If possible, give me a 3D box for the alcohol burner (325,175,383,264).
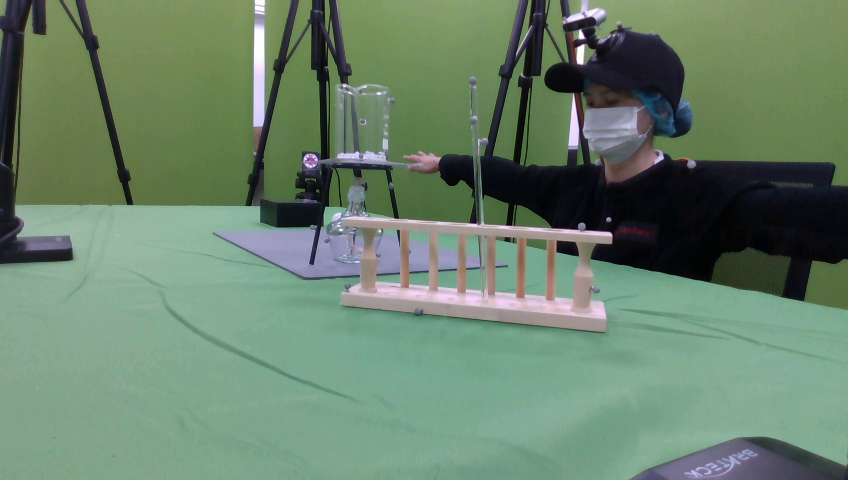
[{"bbox_3d":[-0.093,-0.028,0.816,0.078,0.119,0.078,3,5,0],"label":"alcohol burner"}]

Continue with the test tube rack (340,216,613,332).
[{"bbox_3d":[0.048,0.026,0.568,0.242,0.085,0.067,4,8,13],"label":"test tube rack"}]

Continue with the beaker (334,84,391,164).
[{"bbox_3d":[-0.082,-0.149,0.791,0.074,0.100,0.084,2,5,4],"label":"beaker"}]

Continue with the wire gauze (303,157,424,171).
[{"bbox_3d":[-0.082,-0.102,0.799,0.126,0.011,0.121,1,7,-30],"label":"wire gauze"}]

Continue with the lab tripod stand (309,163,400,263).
[{"bbox_3d":[-0.091,-0.037,0.813,0.148,0.131,0.148,1,6,0],"label":"lab tripod stand"}]

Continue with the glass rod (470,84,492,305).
[{"bbox_3d":[0.051,-0.036,0.535,0.008,0.199,0.008,-5,10,1],"label":"glass rod"}]

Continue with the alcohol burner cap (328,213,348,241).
[{"bbox_3d":[-0.148,-0.024,1.050,0.034,0.048,0.034,3,7,0],"label":"alcohol burner cap"}]
